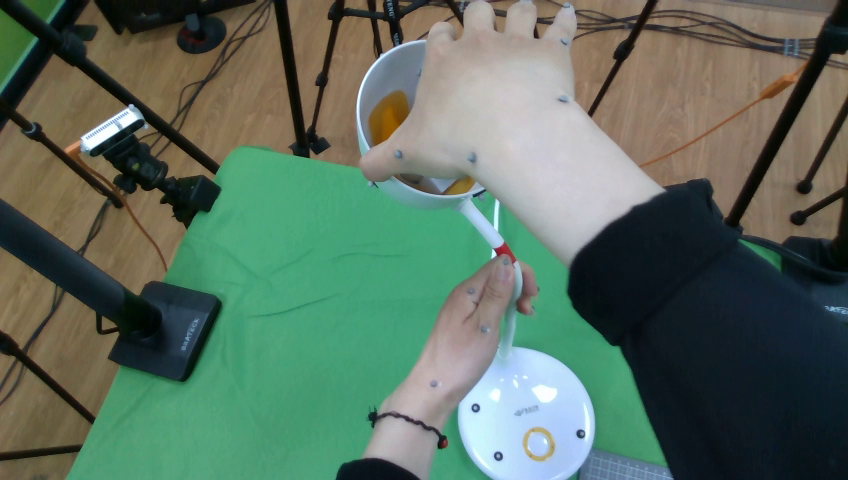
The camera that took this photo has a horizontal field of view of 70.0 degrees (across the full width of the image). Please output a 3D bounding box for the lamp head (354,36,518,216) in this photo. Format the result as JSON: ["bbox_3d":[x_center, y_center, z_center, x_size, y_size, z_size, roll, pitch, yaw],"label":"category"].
[{"bbox_3d":[0.004,-0.070,0.453,0.112,0.123,0.112,1,75,-5],"label":"lamp head"}]

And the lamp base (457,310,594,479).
[{"bbox_3d":[0.106,0.159,0.657,0.161,0.182,0.177,-25,61,-7],"label":"lamp base"}]
